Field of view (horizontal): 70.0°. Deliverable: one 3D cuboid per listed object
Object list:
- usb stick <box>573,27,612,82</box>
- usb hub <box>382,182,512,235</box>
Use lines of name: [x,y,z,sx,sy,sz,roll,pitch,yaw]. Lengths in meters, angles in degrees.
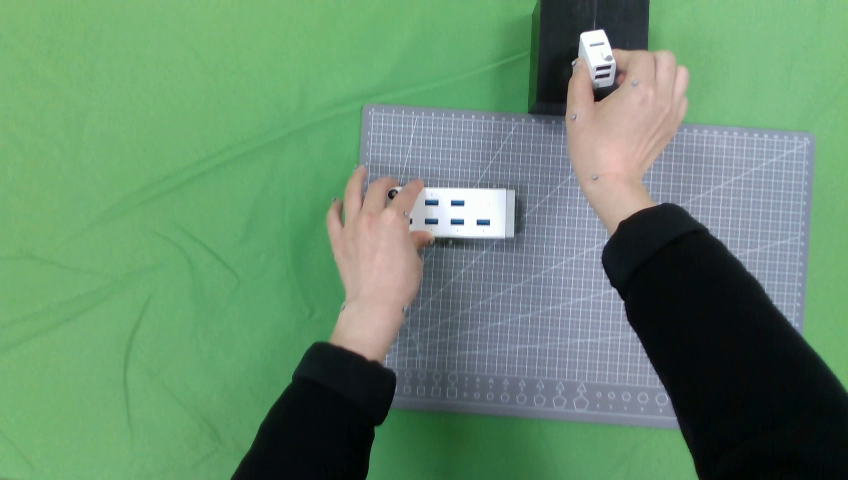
usb stick: [0.144,-0.165,0.524,0.021,0.027,0.058,-5,51,0]
usb hub: [0.022,-0.031,0.591,0.125,0.025,0.049,1,89,0]
